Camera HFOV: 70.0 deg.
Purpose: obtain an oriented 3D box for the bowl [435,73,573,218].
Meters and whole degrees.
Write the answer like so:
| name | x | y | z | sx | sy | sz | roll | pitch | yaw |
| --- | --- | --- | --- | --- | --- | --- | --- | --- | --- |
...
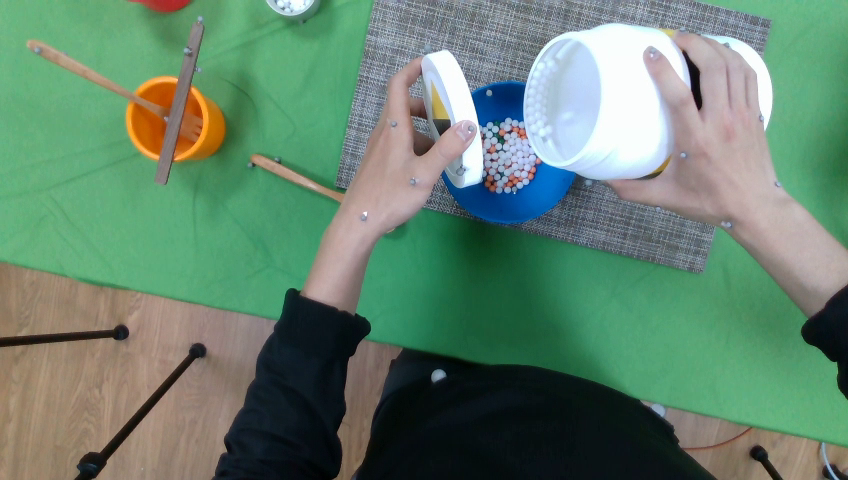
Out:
| name | x | y | z | sx | sy | sz | roll | pitch | yaw |
| --- | --- | --- | --- | --- | --- | --- | --- | --- | --- |
| bowl | 0.087 | -0.101 | 0.676 | 0.151 | 0.076 | 0.151 | 0 | 96 | 2 |

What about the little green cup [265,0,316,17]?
| name | x | y | z | sx | sy | sz | roll | pitch | yaw |
| --- | --- | --- | --- | --- | --- | --- | --- | --- | --- |
| little green cup | -0.151 | -0.284 | 0.686 | 0.061 | 0.038 | 0.061 | 0 | 96 | 2 |

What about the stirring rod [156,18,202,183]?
| name | x | y | z | sx | sy | sz | roll | pitch | yaw |
| --- | --- | --- | --- | --- | --- | --- | --- | --- | --- |
| stirring rod | -0.261 | -0.147 | 0.645 | 0.014 | 0.006 | 0.176 | 14 | 96 | 2 |

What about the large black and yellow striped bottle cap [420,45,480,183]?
| name | x | y | z | sx | sy | sz | roll | pitch | yaw |
| --- | --- | --- | --- | --- | --- | --- | --- | --- | --- |
| large black and yellow striped bottle cap | 0.020 | -0.105 | 0.516 | 0.019 | 0.114 | 0.115 | -16 | 94 | -8 |

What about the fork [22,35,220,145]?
| name | x | y | z | sx | sy | sz | roll | pitch | yaw |
| --- | --- | --- | --- | --- | --- | --- | --- | --- | --- |
| fork | -0.314 | -0.157 | 0.648 | 0.209 | 0.018 | 0.028 | 27 | 100 | -45 |

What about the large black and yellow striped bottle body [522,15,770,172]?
| name | x | y | z | sx | sy | sz | roll | pitch | yaw |
| --- | --- | --- | --- | --- | --- | --- | --- | --- | --- |
| large black and yellow striped bottle body | 0.193 | -0.126 | 0.539 | 0.185 | 0.130 | 0.131 | -4 | 95 | -26 |

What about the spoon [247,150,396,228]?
| name | x | y | z | sx | sy | sz | roll | pitch | yaw |
| --- | --- | --- | --- | --- | --- | --- | --- | --- | --- |
| spoon | -0.121 | -0.066 | 0.715 | 0.194 | 0.021 | 0.042 | 24 | 109 | -2 |
